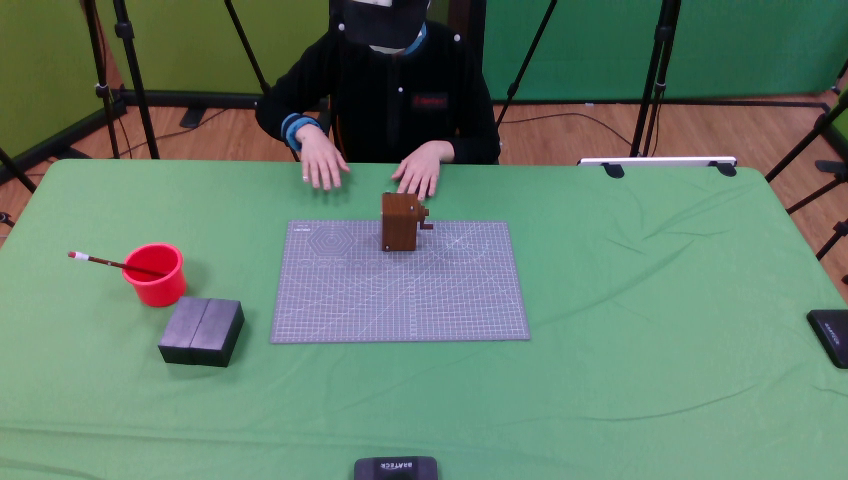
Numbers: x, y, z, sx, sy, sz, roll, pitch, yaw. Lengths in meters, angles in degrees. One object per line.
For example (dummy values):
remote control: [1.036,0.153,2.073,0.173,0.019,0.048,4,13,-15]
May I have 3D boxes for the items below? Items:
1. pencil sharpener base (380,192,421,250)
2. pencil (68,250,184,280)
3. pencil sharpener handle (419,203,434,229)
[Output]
pencil sharpener base: [-0.046,-0.035,1.163,0.077,0.107,0.061,0,46,-4]
pencil: [-0.498,0.046,1.026,0.195,0.012,0.012,21,29,-45]
pencil sharpener handle: [0.006,-0.045,1.160,0.031,0.068,0.036,0,52,-4]
